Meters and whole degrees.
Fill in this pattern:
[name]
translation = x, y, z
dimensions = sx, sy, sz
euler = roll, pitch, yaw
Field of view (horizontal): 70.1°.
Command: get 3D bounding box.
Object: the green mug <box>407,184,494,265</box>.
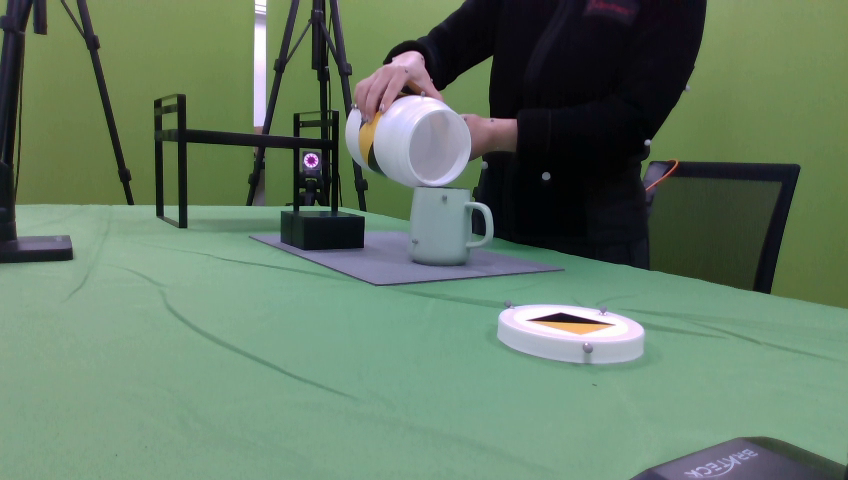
[green mug]
translation = 0.038, -0.021, 0.827
dimensions = 0.125, 0.105, 0.093
euler = 6, 8, 30

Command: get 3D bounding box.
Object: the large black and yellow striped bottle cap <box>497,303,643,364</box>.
[large black and yellow striped bottle cap]
translation = 0.117, 0.072, 0.486
dimensions = 0.115, 0.019, 0.115
euler = 2, 8, 0

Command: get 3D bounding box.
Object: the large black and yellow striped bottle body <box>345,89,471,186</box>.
[large black and yellow striped bottle body]
translation = -0.025, -0.153, 0.901
dimensions = 0.131, 0.130, 0.183
euler = -3, 17, -32
